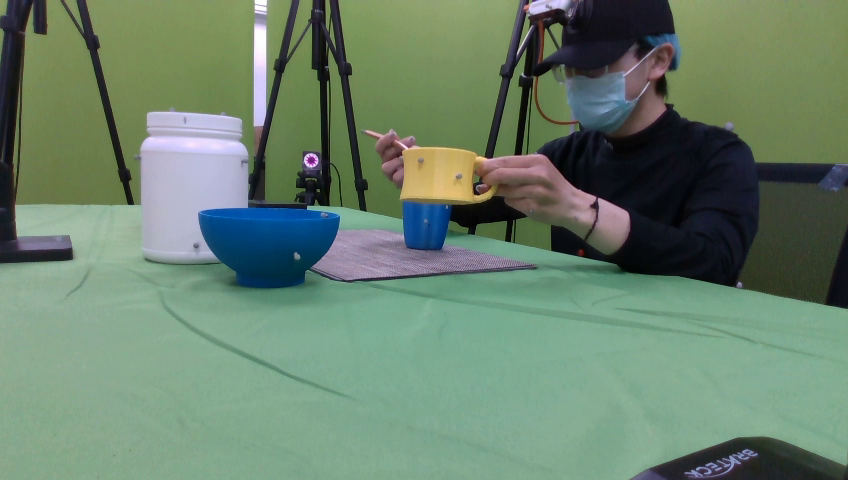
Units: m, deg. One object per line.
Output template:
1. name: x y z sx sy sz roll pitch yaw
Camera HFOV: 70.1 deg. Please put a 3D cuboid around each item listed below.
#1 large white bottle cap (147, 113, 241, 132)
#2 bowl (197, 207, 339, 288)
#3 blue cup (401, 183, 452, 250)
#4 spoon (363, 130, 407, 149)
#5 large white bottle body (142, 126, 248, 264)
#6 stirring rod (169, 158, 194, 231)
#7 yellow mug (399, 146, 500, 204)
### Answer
1. large white bottle cap: -0.297 -0.151 0.786 0.115 0.018 0.115 2 7 0
2. bowl: -0.171 0.008 0.671 0.151 0.077 0.151 2 7 0
3. blue cup: 0.003 -0.038 0.966 0.093 0.100 0.092 4 8 0
4. spoon: -0.038 -0.151 0.996 0.042 0.021 0.193 -11 35 -42
5. large white bottle body: -0.300 -0.068 0.797 0.131 0.184 0.130 2 7 0
6. stirring rod: -0.424 -0.082 1.060 0.014 0.006 0.175 2 50 -10
7. yellow mug: 0.034 -0.082 0.789 0.131 0.064 0.100 4 0 7
